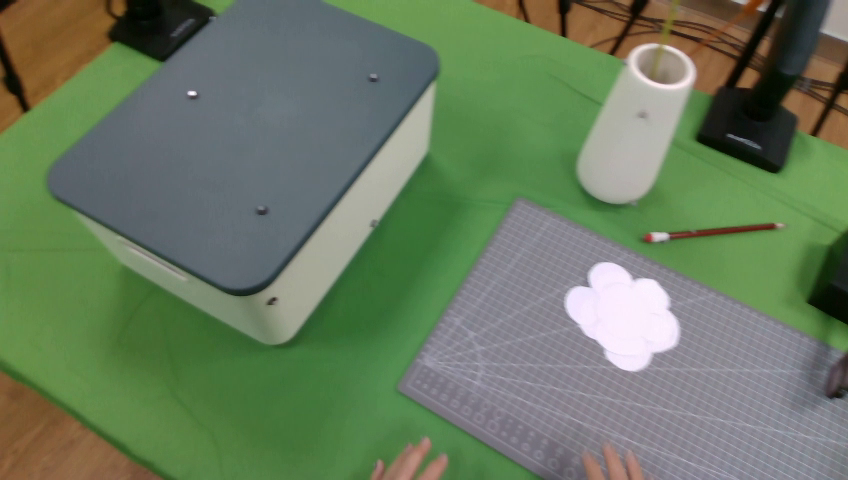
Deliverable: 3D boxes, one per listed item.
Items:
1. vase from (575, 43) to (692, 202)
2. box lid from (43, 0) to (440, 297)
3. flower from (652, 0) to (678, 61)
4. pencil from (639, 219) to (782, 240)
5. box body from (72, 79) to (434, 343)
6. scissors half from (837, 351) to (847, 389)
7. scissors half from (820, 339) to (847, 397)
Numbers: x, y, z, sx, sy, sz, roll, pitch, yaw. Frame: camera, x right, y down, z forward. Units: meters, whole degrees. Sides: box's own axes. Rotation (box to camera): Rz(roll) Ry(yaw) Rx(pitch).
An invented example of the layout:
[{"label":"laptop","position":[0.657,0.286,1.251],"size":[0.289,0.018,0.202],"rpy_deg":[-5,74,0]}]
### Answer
[{"label":"vase","position":[0.246,-0.133,0.721],"size":[0.098,0.201,0.097],"rpy_deg":[1,57,-1]},{"label":"box lid","position":[-0.173,-0.133,0.637],"size":[0.262,0.015,0.370],"rpy_deg":[26,61,13]},{"label":"flower","position":[0.248,-0.190,0.658],"size":[0.044,0.364,0.038],"rpy_deg":[20,43,14]},{"label":"pencil","position":[0.364,-0.015,0.765],"size":[0.194,0.012,0.012],"rpy_deg":[-6,59,-8]},{"label":"box body","position":[-0.175,-0.092,0.699],"size":[0.253,0.161,0.362],"rpy_deg":[26,61,13]},{"label":"scissors half","position":[0.476,0.087,0.649],"size":[0.012,0.040,0.174],"rpy_deg":[30,58,17]},{"label":"scissors half","position":[0.476,0.097,0.667],"size":[0.013,0.040,0.175],"rpy_deg":[32,75,13]}]
